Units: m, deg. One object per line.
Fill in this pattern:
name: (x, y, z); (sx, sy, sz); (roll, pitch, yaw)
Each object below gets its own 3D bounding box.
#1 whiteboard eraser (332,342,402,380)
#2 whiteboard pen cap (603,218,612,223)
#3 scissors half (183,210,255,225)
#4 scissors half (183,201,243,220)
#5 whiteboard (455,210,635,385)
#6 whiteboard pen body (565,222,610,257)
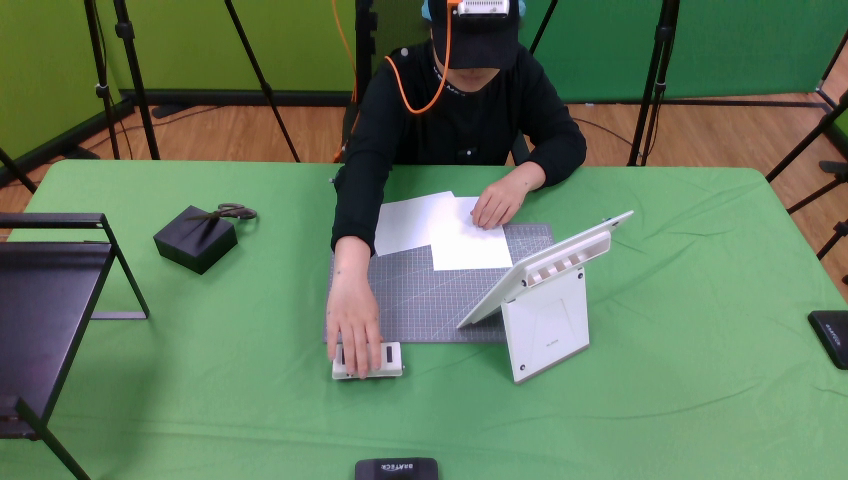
whiteboard eraser: (-0.093, 0.198, 0.986); (0.113, 0.042, 0.055); (-2, 46, -6)
whiteboard pen cap: (0.379, -0.031, 1.255); (0.033, 0.018, 0.018); (-33, 57, -29)
scissors half: (-0.389, -0.042, 1.158); (0.040, 0.013, 0.175); (41, 21, 22)
scissors half: (-0.405, -0.054, 1.163); (0.040, 0.013, 0.175); (29, 18, 7)
whiteboard: (0.211, 0.111, 0.955); (0.217, 0.306, 0.143); (-21, 72, -23)
whiteboard pen body: (0.335, -0.004, 1.228); (0.141, 0.017, 0.017); (-33, 56, -29)
